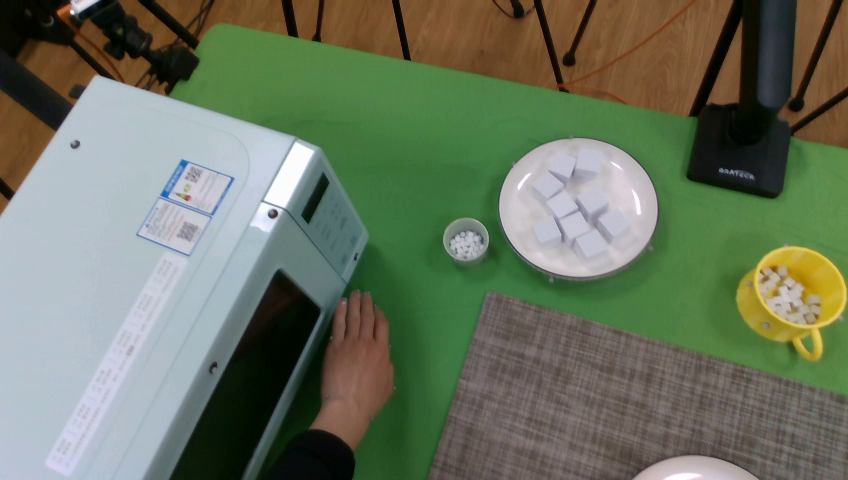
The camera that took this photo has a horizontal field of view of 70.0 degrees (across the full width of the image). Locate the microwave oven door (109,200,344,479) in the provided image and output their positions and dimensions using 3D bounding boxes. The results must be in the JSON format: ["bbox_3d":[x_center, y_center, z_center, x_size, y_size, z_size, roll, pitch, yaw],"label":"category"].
[{"bbox_3d":[-0.205,0.158,0.660,0.039,0.246,0.354,19,72,15],"label":"microwave oven door"}]

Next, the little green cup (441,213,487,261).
[{"bbox_3d":[0.055,-0.001,0.815,0.061,0.039,0.061,-2,69,6],"label":"little green cup"}]

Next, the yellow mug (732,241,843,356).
[{"bbox_3d":[0.436,0.072,0.721,0.100,0.064,0.130,-11,69,3],"label":"yellow mug"}]

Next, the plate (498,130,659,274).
[{"bbox_3d":[0.204,-0.049,0.816,0.207,0.039,0.206,-3,68,7],"label":"plate"}]

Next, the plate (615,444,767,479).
[{"bbox_3d":[0.292,0.329,0.651,0.209,0.038,0.207,-3,69,7],"label":"plate"}]

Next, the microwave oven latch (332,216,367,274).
[{"bbox_3d":[-0.105,0.003,0.817,0.030,0.030,0.079,21,74,15],"label":"microwave oven latch"}]

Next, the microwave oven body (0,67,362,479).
[{"bbox_3d":[-0.321,0.076,0.713,0.325,0.262,0.440,19,73,14],"label":"microwave oven body"}]
